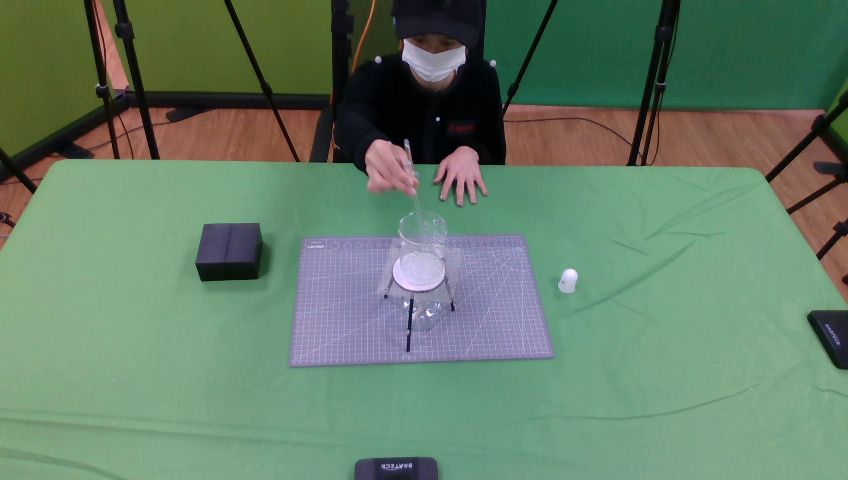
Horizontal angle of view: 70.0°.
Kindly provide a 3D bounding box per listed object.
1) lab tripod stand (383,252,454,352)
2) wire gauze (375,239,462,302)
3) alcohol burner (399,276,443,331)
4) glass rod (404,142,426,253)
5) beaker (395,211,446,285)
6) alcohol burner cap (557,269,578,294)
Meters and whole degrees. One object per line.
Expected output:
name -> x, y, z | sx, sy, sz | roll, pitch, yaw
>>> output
lab tripod stand -> -0.016, 0.094, 1.025 | 0.148, 0.132, 0.147 | 1, 46, -1
wire gauze -> -0.006, 0.049, 0.977 | 0.121, 0.011, 0.124 | 10, 44, 5
alcohol burner -> -0.004, 0.101, 1.033 | 0.078, 0.119, 0.077 | 3, 48, -3
glass rod -> -0.012, -0.056, 0.876 | 0.008, 0.201, 0.008 | -5, 40, 5
beaker -> -0.002, 0.017, 0.941 | 0.083, 0.101, 0.074 | 36, 55, 29
alcohol burner cap -> 0.270, 0.075, 1.135 | 0.034, 0.048, 0.033 | 3, 46, -3
